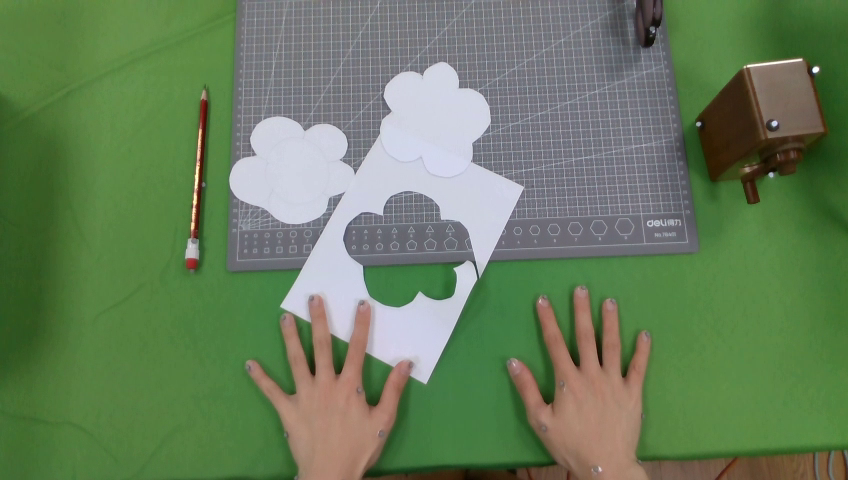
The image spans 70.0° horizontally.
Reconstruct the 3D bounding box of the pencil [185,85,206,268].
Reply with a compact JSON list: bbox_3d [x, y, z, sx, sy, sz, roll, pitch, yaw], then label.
[{"bbox_3d":[-0.225,-0.067,0.601,0.012,0.012,0.193,-2,75,1],"label":"pencil"}]

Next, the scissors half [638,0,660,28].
[{"bbox_3d":[0.216,-0.286,0.601,0.013,0.040,0.174,-1,67,3],"label":"scissors half"}]

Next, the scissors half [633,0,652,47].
[{"bbox_3d":[0.219,-0.281,0.620,0.013,0.040,0.174,-2,84,8],"label":"scissors half"}]

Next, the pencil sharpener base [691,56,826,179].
[{"bbox_3d":[0.300,-0.105,0.552,0.061,0.107,0.076,-7,76,-1],"label":"pencil sharpener base"}]

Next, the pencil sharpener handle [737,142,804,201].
[{"bbox_3d":[0.302,-0.058,0.528,0.036,0.068,0.030,-4,76,-14],"label":"pencil sharpener handle"}]
